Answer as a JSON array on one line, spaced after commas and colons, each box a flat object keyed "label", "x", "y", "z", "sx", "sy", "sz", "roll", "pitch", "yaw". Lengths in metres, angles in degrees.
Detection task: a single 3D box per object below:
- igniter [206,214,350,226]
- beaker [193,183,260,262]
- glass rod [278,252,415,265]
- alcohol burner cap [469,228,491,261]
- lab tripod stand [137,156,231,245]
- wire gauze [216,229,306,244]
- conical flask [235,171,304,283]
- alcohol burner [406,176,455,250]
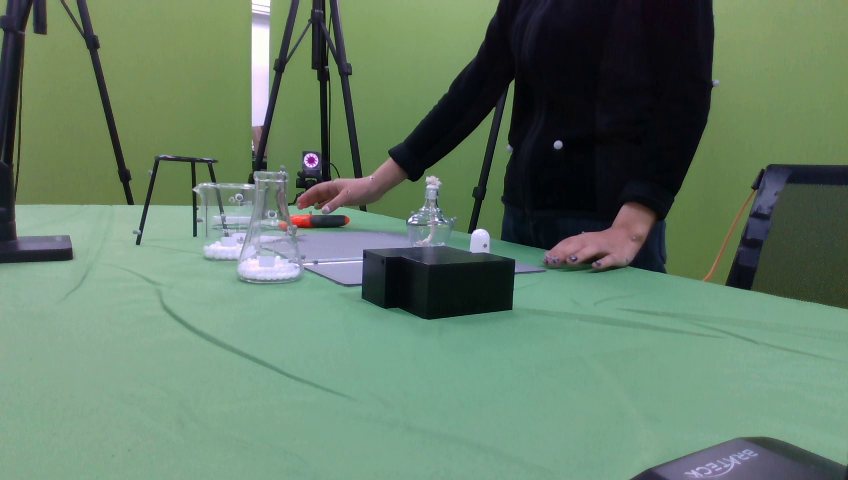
[{"label": "igniter", "x": -0.279, "y": -0.038, "z": 1.185, "sx": 0.278, "sy": 0.025, "sz": 0.057, "roll": -2, "pitch": -1, "yaw": -30}, {"label": "beaker", "x": -0.262, "y": -0.025, "z": 0.806, "sx": 0.084, "sy": 0.100, "sz": 0.073, "roll": -3, "pitch": 9, "yaw": -30}, {"label": "glass rod", "x": -0.097, "y": 0.024, "z": 0.805, "sx": 0.201, "sy": 0.008, "sz": 0.008, "roll": -3, "pitch": 8, "yaw": -33}, {"label": "alcohol burner cap", "x": 0.082, "y": 0.006, "z": 0.878, "sx": 0.034, "sy": 0.048, "sz": 0.034, "roll": 2, "pitch": 6, "yaw": 0}, {"label": "lab tripod stand", "x": -0.358, "y": -0.061, "z": 0.927, "sx": 0.148, "sy": 0.131, "sz": 0.148, "roll": 4, "pitch": 6, "yaw": 0}, {"label": "wire gauze", "x": -0.273, "y": -0.009, "z": 1.013, "sx": 0.122, "sy": 0.011, "sz": 0.124, "roll": -2, "pitch": 9, "yaw": -33}, {"label": "conical flask", "x": -0.172, "y": -0.016, "z": 0.677, "sx": 0.075, "sy": 0.122, "sz": 0.075, "roll": 2, "pitch": 7, "yaw": 0}, {"label": "alcohol burner", "x": 0.012, "y": -0.044, "z": 0.963, "sx": 0.078, "sy": 0.119, "sz": 0.078, "roll": 4, "pitch": 7, "yaw": 0}]
